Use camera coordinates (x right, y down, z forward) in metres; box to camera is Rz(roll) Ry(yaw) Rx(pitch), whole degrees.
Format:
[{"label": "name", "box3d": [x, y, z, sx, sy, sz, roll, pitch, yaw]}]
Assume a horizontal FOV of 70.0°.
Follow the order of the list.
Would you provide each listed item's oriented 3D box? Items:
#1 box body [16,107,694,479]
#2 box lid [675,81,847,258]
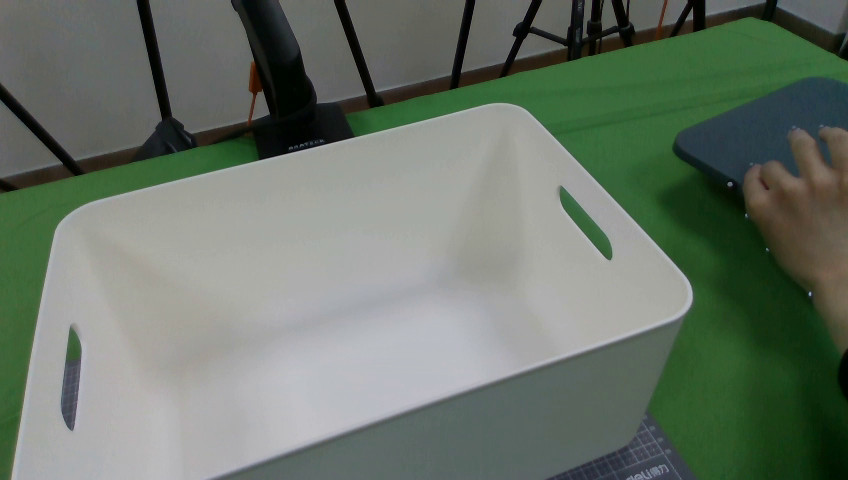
[{"label": "box body", "box3d": [-0.044, 0.067, 0.436, 0.365, 0.162, 0.251, -16, 43, -11]}, {"label": "box lid", "box3d": [0.450, -0.045, 0.556, 0.264, 0.015, 0.367, -22, 45, -22]}]
